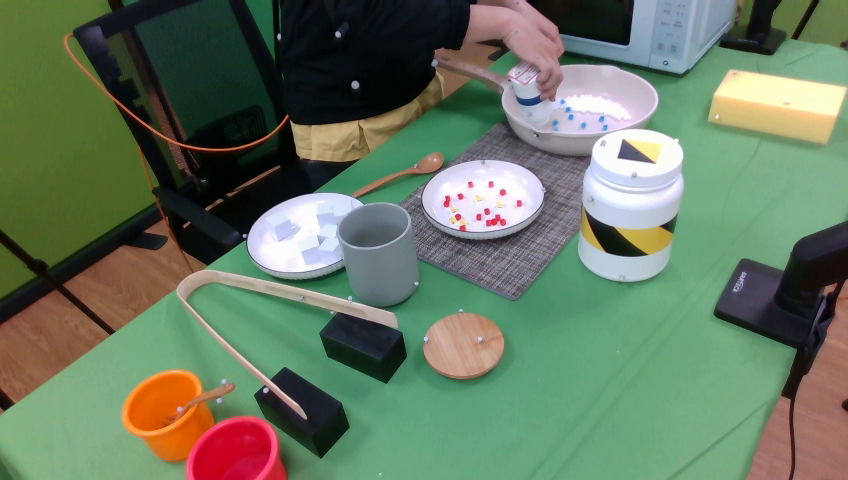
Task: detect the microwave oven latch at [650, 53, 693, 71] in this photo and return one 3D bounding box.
[{"bbox_3d":[0.531,-0.386,1.301,0.078,0.029,0.030,26,51,33],"label":"microwave oven latch"}]

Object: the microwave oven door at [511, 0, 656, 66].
[{"bbox_3d":[0.351,-0.540,1.349,0.353,0.245,0.039,24,50,31],"label":"microwave oven door"}]

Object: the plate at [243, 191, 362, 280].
[{"bbox_3d":[-0.188,-0.005,0.992,0.207,0.039,0.206,-4,40,3],"label":"plate"}]

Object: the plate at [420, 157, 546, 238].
[{"bbox_3d":[0.099,-0.067,1.017,0.209,0.038,0.208,-4,40,4],"label":"plate"}]

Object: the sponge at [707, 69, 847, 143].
[{"bbox_3d":[0.663,-0.256,1.141,0.205,0.061,0.118,18,47,28],"label":"sponge"}]

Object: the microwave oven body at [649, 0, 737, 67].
[{"bbox_3d":[0.475,-0.602,1.411,0.438,0.261,0.327,23,50,32],"label":"microwave oven body"}]

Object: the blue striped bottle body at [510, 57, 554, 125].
[{"bbox_3d":[0.197,-0.262,1.087,0.063,0.122,0.063,-11,53,16],"label":"blue striped bottle body"}]

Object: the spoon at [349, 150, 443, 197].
[{"bbox_3d":[-0.051,-0.123,1.120,0.194,0.022,0.041,-22,60,-18],"label":"spoon"}]

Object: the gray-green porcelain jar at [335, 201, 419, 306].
[{"bbox_3d":[-0.064,0.024,0.872,0.106,0.127,0.105,-4,41,4],"label":"gray-green porcelain jar"}]

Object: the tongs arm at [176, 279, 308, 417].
[{"bbox_3d":[-0.255,0.132,0.801,0.028,0.028,0.384,-41,40,-23],"label":"tongs arm"}]

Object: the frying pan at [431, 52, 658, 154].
[{"bbox_3d":[0.216,-0.302,1.223,0.484,0.103,0.308,29,49,24],"label":"frying pan"}]

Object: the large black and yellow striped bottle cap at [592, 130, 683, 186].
[{"bbox_3d":[0.282,-0.111,0.803,0.115,0.019,0.114,-3,41,3],"label":"large black and yellow striped bottle cap"}]

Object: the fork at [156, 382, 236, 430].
[{"bbox_3d":[-0.262,0.189,0.690,0.018,0.206,0.028,49,43,-7],"label":"fork"}]

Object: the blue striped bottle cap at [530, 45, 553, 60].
[{"bbox_3d":[0.237,-0.377,1.214,0.044,0.020,0.044,13,12,-2],"label":"blue striped bottle cap"}]

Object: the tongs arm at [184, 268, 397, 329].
[{"bbox_3d":[-0.202,0.084,0.848,0.382,0.027,0.051,11,44,35],"label":"tongs arm"}]

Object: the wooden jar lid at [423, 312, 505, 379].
[{"bbox_3d":[0.053,0.142,0.800,0.108,0.021,0.108,-5,39,4],"label":"wooden jar lid"}]

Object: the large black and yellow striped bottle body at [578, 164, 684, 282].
[{"bbox_3d":[0.292,-0.046,0.859,0.131,0.185,0.130,-4,41,4],"label":"large black and yellow striped bottle body"}]
